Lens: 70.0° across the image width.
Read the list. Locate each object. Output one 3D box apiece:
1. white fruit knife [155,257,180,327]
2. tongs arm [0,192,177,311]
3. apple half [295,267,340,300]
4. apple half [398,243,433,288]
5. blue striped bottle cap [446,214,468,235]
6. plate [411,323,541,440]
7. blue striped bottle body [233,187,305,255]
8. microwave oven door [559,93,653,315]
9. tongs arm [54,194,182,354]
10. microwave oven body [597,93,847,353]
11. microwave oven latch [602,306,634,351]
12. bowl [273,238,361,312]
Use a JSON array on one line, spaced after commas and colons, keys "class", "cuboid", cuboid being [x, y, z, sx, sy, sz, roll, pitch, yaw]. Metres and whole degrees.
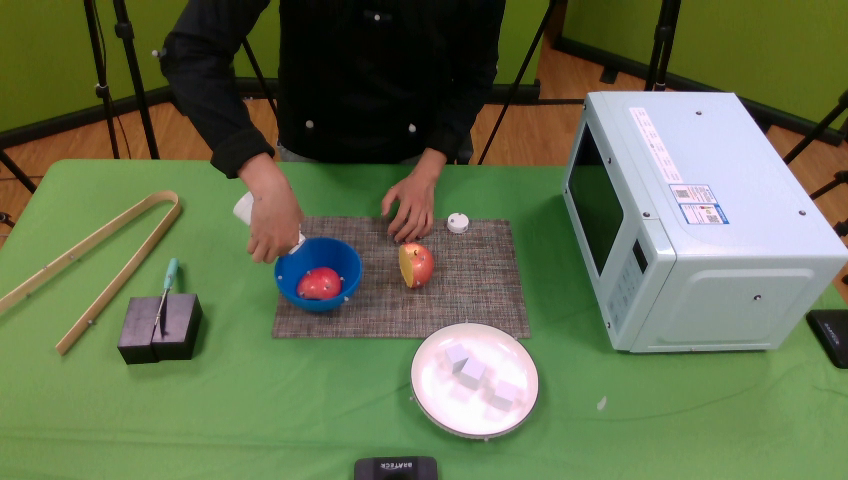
[{"class": "white fruit knife", "cuboid": [-0.440, 0.085, 1.037, 0.016, 0.027, 0.206, 10, 26, -19]}, {"class": "tongs arm", "cuboid": [-0.618, 0.020, 1.124, 0.050, 0.026, 0.384, 24, 47, 16]}, {"class": "apple half", "cuboid": [-0.187, 0.070, 1.067, 0.081, 0.033, 0.081, 3, 47, -3]}, {"class": "apple half", "cuboid": [-0.012, 0.046, 1.115, 0.053, 0.075, 0.080, -11, 44, -19]}, {"class": "blue striped bottle cap", "cuboid": [0.069, -0.033, 1.239, 0.044, 0.021, 0.044, 1, 46, -1]}, {"class": "plate", "cuboid": [0.082, 0.228, 0.976, 0.208, 0.039, 0.206, 2, 45, -2]}, {"class": "blue striped bottle body", "cuboid": [-0.260, -0.029, 1.033, 0.121, 0.063, 0.063, 42, 52, 0]}, {"class": "microwave oven door", "cuboid": [0.327, -0.074, 1.123, 0.039, 0.245, 0.353, -1, 46, -5]}, {"class": "tongs arm", "cuboid": [-0.543, 0.048, 1.108, 0.028, 0.028, 0.385, 11, 45, 10]}, {"class": "microwave oven body", "cuboid": [0.475, -0.041, 1.109, 0.326, 0.261, 0.438, -1, 45, -4]}, {"class": "microwave oven latch", "cuboid": [0.332, 0.153, 1.044, 0.030, 0.029, 0.078, -1, 45, -4]}, {"class": "bowl", "cuboid": [-0.186, 0.075, 1.070, 0.151, 0.077, 0.150, 3, 45, -3]}]
